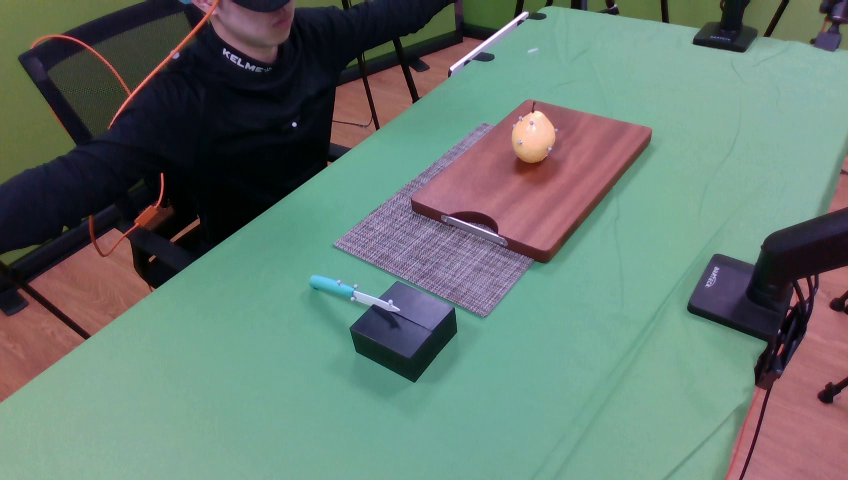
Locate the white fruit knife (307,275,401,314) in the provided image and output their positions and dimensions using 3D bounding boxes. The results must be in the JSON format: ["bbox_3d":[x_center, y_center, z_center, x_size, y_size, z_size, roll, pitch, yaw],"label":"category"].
[{"bbox_3d":[-0.102,0.076,0.847,0.205,0.027,0.016,11,45,43],"label":"white fruit knife"}]

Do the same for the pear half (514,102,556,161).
[{"bbox_3d":[0.196,-0.198,1.060,0.076,0.110,0.056,12,44,17],"label":"pear half"}]

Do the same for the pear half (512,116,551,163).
[{"bbox_3d":[0.182,-0.169,1.043,0.070,0.088,0.031,12,45,18],"label":"pear half"}]
